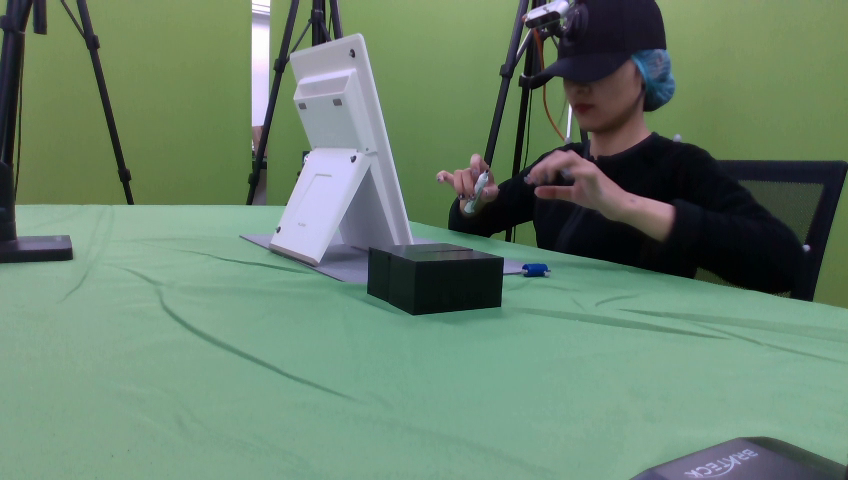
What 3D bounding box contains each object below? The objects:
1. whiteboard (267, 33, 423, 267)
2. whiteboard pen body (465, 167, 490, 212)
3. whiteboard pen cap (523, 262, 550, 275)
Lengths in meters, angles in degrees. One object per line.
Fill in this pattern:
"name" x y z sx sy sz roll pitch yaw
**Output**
"whiteboard" -0.153 -0.098 0.819 0.144 0.305 0.216 -25 21 -29
"whiteboard pen body" 0.095 -0.088 1.052 0.017 0.017 0.140 0 -27 -11
"whiteboard pen cap" 0.145 0.037 0.776 0.033 0.018 0.018 1 7 -30
